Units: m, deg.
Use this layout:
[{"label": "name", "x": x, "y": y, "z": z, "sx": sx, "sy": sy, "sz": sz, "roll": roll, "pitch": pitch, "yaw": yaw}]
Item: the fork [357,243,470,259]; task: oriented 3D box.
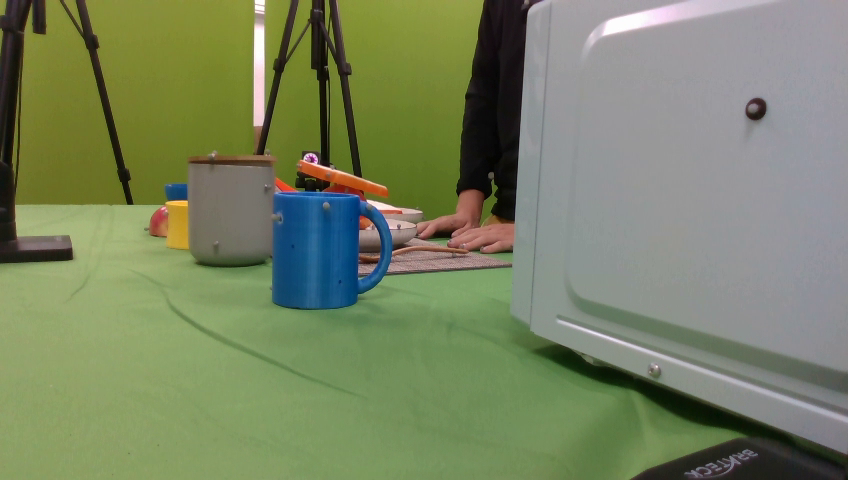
[{"label": "fork", "x": -0.017, "y": 0.014, "z": 0.845, "sx": 0.208, "sy": 0.018, "sz": 0.028, "roll": -5, "pitch": -1, "yaw": -36}]

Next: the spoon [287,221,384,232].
[{"label": "spoon", "x": -0.157, "y": -0.027, "z": 1.110, "sx": 0.195, "sy": 0.021, "sz": 0.041, "roll": -4, "pitch": -11, "yaw": -35}]

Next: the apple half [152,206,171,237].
[{"label": "apple half", "x": -0.415, "y": -0.034, "z": 1.017, "sx": 0.081, "sy": 0.053, "sz": 0.074, "roll": 1, "pitch": 10, "yaw": -8}]

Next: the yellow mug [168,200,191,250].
[{"label": "yellow mug", "x": -0.320, "y": -0.023, "z": 0.904, "sx": 0.130, "sy": 0.064, "sz": 0.100, "roll": 8, "pitch": 10, "yaw": 36}]

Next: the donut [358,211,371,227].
[{"label": "donut", "x": -0.129, "y": -0.041, "z": 0.956, "sx": 0.099, "sy": 0.048, "sz": 0.099, "roll": 2, "pitch": 7, "yaw": 0}]

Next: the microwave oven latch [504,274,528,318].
[{"label": "microwave oven latch", "x": 0.100, "y": 0.041, "z": 0.471, "sx": 0.079, "sy": 0.029, "sz": 0.030, "roll": -1, "pitch": 7, "yaw": -27}]

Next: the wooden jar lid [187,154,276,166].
[{"label": "wooden jar lid", "x": -0.244, "y": -0.097, "z": 0.771, "sx": 0.108, "sy": 0.020, "sz": 0.108, "roll": -1, "pitch": 7, "yaw": 0}]

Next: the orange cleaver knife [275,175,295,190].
[{"label": "orange cleaver knife", "x": -0.283, "y": -0.087, "z": 1.343, "sx": 0.212, "sy": 0.077, "sz": 0.012, "roll": 24, "pitch": -16, "yaw": -41}]

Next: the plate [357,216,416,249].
[{"label": "plate", "x": -0.116, "y": -0.014, "z": 0.967, "sx": 0.208, "sy": 0.039, "sz": 0.207, "roll": 2, "pitch": 7, "yaw": 0}]

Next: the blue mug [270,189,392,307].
[{"label": "blue mug", "x": -0.090, "y": 0.005, "z": 0.588, "sx": 0.117, "sy": 0.106, "sz": 0.082, "roll": 1, "pitch": 7, "yaw": -11}]

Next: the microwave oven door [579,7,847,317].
[{"label": "microwave oven door", "x": 0.294, "y": -0.067, "z": 0.570, "sx": 0.358, "sy": 0.243, "sz": 0.039, "roll": -3, "pitch": 9, "yaw": -31}]

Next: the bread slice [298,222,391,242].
[{"label": "bread slice", "x": -0.121, "y": -0.014, "z": 0.970, "sx": 0.106, "sy": 0.018, "sz": 0.135, "roll": 10, "pitch": 10, "yaw": 41}]

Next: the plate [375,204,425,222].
[{"label": "plate", "x": -0.102, "y": -0.053, "z": 1.299, "sx": 0.209, "sy": 0.038, "sz": 0.209, "roll": 2, "pitch": 8, "yaw": 0}]

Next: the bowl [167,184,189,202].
[{"label": "bowl", "x": -0.408, "y": -0.064, "z": 1.154, "sx": 0.151, "sy": 0.077, "sz": 0.151, "roll": 2, "pitch": 8, "yaw": 0}]

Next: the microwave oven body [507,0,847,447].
[{"label": "microwave oven body", "x": 0.331, "y": -0.042, "z": 0.425, "sx": 0.444, "sy": 0.260, "sz": 0.324, "roll": -2, "pitch": 8, "yaw": -31}]

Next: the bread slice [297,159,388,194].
[{"label": "bread slice", "x": -0.132, "y": -0.102, "z": 0.952, "sx": 0.132, "sy": 0.019, "sz": 0.104, "roll": 13, "pitch": 6, "yaw": -36}]

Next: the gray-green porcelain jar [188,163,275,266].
[{"label": "gray-green porcelain jar", "x": -0.246, "y": -0.034, "z": 0.780, "sx": 0.106, "sy": 0.126, "sz": 0.106, "roll": 2, "pitch": 7, "yaw": 0}]
